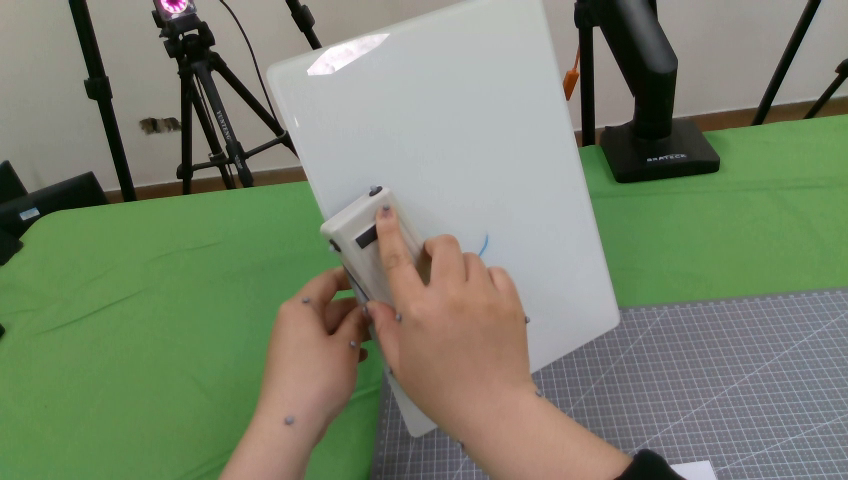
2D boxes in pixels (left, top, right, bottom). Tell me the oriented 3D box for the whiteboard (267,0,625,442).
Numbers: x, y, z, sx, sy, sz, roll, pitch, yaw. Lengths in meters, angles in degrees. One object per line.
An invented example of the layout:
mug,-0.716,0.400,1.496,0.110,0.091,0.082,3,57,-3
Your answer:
whiteboard,0.015,-0.030,0.529,0.217,0.307,0.143,-24,18,-16

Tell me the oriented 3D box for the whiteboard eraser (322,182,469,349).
whiteboard eraser,-0.019,0.019,0.430,0.055,0.113,0.041,-38,20,-13
